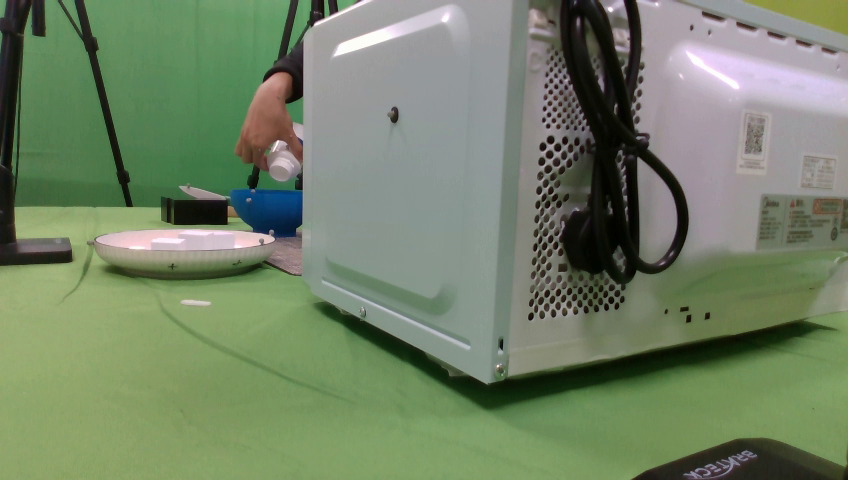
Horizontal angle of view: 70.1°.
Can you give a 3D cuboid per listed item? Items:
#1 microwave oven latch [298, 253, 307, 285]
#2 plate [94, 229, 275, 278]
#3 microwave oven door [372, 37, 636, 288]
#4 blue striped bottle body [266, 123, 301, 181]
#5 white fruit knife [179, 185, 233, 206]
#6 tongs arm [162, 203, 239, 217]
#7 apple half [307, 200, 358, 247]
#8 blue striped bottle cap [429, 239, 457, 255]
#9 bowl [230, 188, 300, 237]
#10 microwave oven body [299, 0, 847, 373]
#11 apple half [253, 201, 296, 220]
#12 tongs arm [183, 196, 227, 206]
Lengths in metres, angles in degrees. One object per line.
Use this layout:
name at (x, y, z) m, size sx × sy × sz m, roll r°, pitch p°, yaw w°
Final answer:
microwave oven latch at (-0.081, 0.027, 0.582) m, size 0.079 × 0.029 × 0.030 m, roll -2°, pitch 7°, yaw -32°
plate at (-0.291, 0.016, 0.749) m, size 0.208 × 0.039 × 0.207 m, roll 2°, pitch 7°, yaw 0°
microwave oven door at (0.110, -0.080, 0.686) m, size 0.358 × 0.243 × 0.039 m, roll -2°, pitch 9°, yaw -33°
blue striped bottle body at (-0.257, -0.162, 1.137) m, size 0.063 × 0.063 × 0.120 m, roll 3°, pitch 44°, yaw 5°
white fruit knife at (-0.413, -0.081, 1.270) m, size 0.208 × 0.027 × 0.016 m, roll 17°, pitch 13°, yaw -41°
tongs arm at (-0.396, -0.066, 1.399) m, size 0.389 × 0.028 × 0.028 m, roll 1°, pitch 5°, yaw -15°
apple half at (-0.135, -0.024, 0.941) m, size 0.053 × 0.074 × 0.081 m, roll 13°, pitch 9°, yaw 39°
blue striped bottle cap at (0.029, 0.011, 0.945) m, size 0.044 × 0.020 × 0.044 m, roll 1°, pitch 6°, yaw 0°
bowl at (-0.264, -0.048, 1.065) m, size 0.151 × 0.077 × 0.151 m, roll 3°, pitch 8°, yaw 0°
microwave oven body at (0.152, -0.055, 0.542) m, size 0.444 × 0.260 × 0.324 m, roll -2°, pitch 7°, yaw -33°
apple half at (-0.264, -0.053, 1.066) m, size 0.081 × 0.033 × 0.081 m, roll 2°, pitch 9°, yaw 0°
tongs arm at (-0.404, -0.081, 1.479) m, size 0.385 × 0.026 × 0.050 m, roll 4°, pitch 8°, yaw -2°
